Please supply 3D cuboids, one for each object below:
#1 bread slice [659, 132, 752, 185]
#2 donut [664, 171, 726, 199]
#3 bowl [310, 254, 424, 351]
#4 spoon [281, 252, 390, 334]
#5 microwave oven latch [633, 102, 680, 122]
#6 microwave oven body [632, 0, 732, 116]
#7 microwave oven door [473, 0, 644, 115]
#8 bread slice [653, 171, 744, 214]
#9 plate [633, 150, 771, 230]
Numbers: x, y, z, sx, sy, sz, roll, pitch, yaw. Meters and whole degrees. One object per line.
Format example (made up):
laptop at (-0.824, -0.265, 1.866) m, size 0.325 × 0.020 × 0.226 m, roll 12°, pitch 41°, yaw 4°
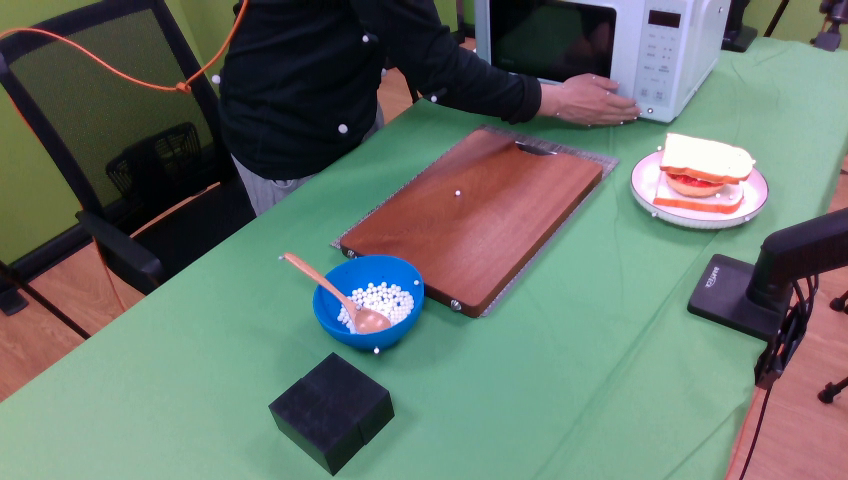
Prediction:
bread slice at (0.443, -0.127, 0.951) m, size 0.134 × 0.018 × 0.107 m, roll 14°, pitch 43°, yaw 14°
donut at (0.438, -0.105, 0.973) m, size 0.099 × 0.048 × 0.098 m, roll -10°, pitch 42°, yaw 9°
bowl at (-0.071, 0.098, 0.821) m, size 0.151 × 0.077 × 0.150 m, roll -4°, pitch 40°, yaw 4°
spoon at (-0.122, 0.070, 0.812) m, size 0.193 × 0.022 × 0.042 m, roll 38°, pitch 62°, yaw 16°
microwave oven latch at (0.444, -0.249, 1.158) m, size 0.078 × 0.029 × 0.030 m, roll 21°, pitch 49°, yaw 30°
microwave oven body at (0.377, -0.463, 1.267) m, size 0.438 × 0.261 × 0.327 m, roll 21°, pitch 49°, yaw 30°
microwave oven door at (0.257, -0.396, 1.199) m, size 0.353 × 0.245 × 0.039 m, roll 21°, pitch 48°, yaw 29°
bread slice at (0.453, -0.084, 0.992) m, size 0.131 × 0.019 × 0.105 m, roll 11°, pitch 45°, yaw 21°
plate at (0.447, -0.081, 0.988) m, size 0.207 × 0.039 × 0.206 m, roll -4°, pitch 40°, yaw 4°
